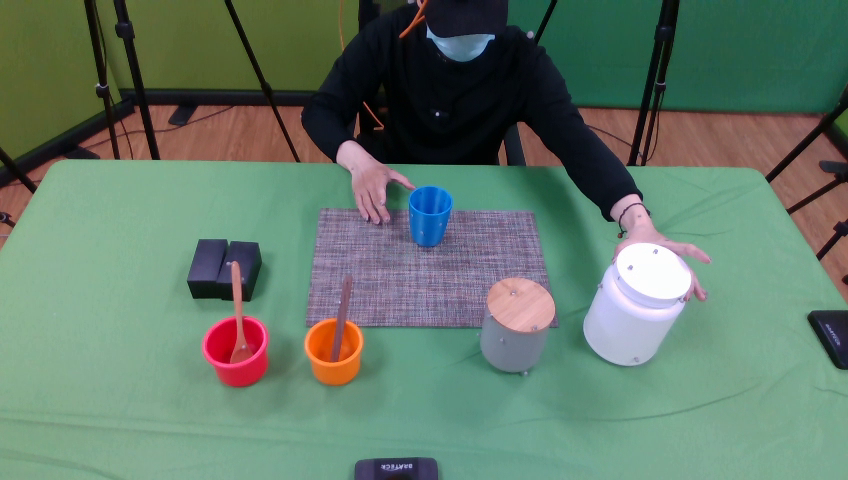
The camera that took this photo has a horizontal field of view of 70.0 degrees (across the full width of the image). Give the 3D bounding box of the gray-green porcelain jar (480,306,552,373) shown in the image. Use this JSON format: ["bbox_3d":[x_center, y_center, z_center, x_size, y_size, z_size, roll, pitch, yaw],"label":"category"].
[{"bbox_3d":[0.148,0.148,0.992,0.106,0.127,0.105,2,46,-2],"label":"gray-green porcelain jar"}]

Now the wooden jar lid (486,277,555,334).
[{"bbox_3d":[0.150,0.105,0.948,0.108,0.021,0.107,3,47,-3],"label":"wooden jar lid"}]

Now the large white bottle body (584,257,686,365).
[{"bbox_3d":[0.350,0.107,1.002,0.131,0.185,0.130,2,47,-2],"label":"large white bottle body"}]

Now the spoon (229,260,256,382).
[{"bbox_3d":[-0.294,0.129,0.966,0.042,0.021,0.193,-4,91,-8],"label":"spoon"}]

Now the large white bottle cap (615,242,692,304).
[{"bbox_3d":[0.356,0.049,0.941,0.115,0.018,0.114,3,47,-3],"label":"large white bottle cap"}]

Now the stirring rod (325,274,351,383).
[{"bbox_3d":[-0.137,0.142,0.972,0.014,0.006,0.176,10,89,0],"label":"stirring rod"}]

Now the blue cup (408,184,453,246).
[{"bbox_3d":[0.008,-0.042,1.177,0.093,0.101,0.092,3,47,-3],"label":"blue cup"}]
